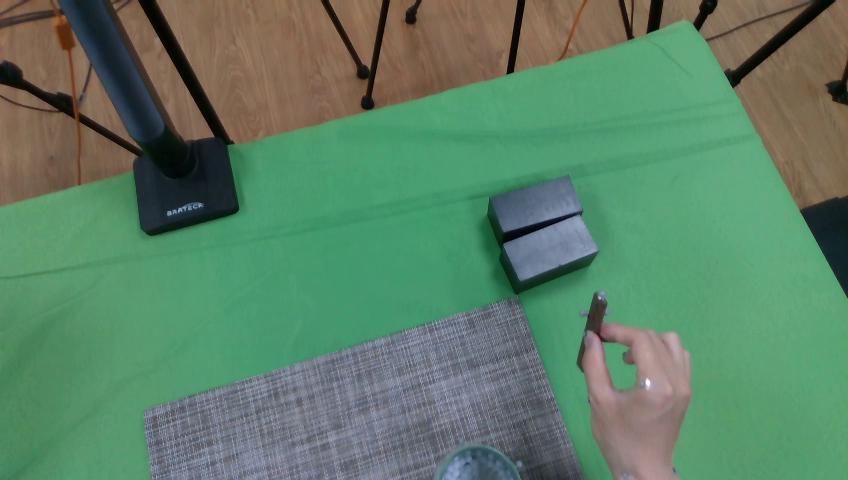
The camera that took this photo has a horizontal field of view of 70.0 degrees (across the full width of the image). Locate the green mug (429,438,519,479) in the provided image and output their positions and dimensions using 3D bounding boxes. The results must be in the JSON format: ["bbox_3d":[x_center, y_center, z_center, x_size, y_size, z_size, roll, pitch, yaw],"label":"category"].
[{"bbox_3d":[0.059,0.255,0.596,0.092,0.105,0.124,-33,71,-11],"label":"green mug"}]

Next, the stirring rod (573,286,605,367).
[{"bbox_3d":[0.148,0.083,0.550,0.006,0.178,0.014,-30,61,-9],"label":"stirring rod"}]
